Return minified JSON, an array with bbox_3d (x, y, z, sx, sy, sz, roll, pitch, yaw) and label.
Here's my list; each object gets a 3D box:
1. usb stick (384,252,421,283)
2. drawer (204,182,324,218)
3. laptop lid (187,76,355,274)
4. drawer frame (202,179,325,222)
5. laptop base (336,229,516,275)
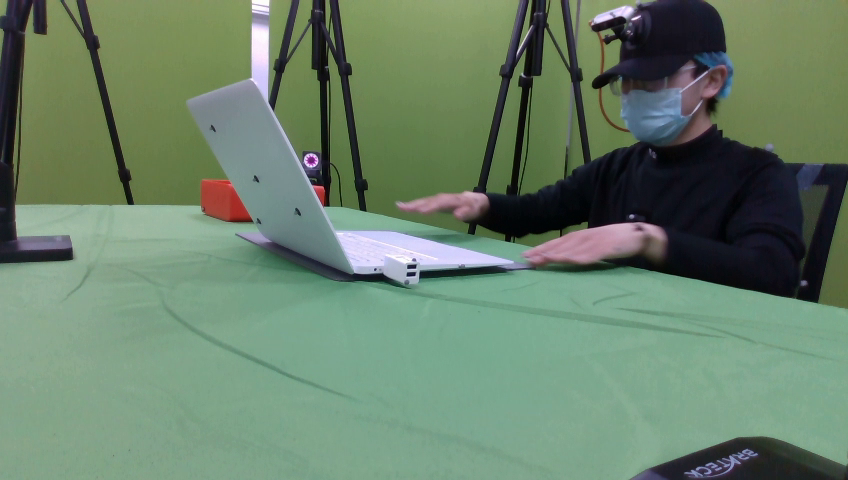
[{"bbox_3d":[-0.028,0.029,0.675,0.021,0.027,0.059,-3,10,-33],"label":"usb stick"},{"bbox_3d":[-0.360,-0.091,1.358,0.213,0.073,0.193,-4,10,-36],"label":"drawer"},{"bbox_3d":[-0.211,-0.082,0.772,0.013,0.242,0.355,-34,25,-23],"label":"laptop lid"},{"bbox_3d":[-0.361,-0.092,1.356,0.215,0.082,0.200,-4,10,-37],"label":"drawer frame"},{"bbox_3d":[-0.066,0.014,0.877,0.237,0.023,0.352,1,7,-32],"label":"laptop base"}]
